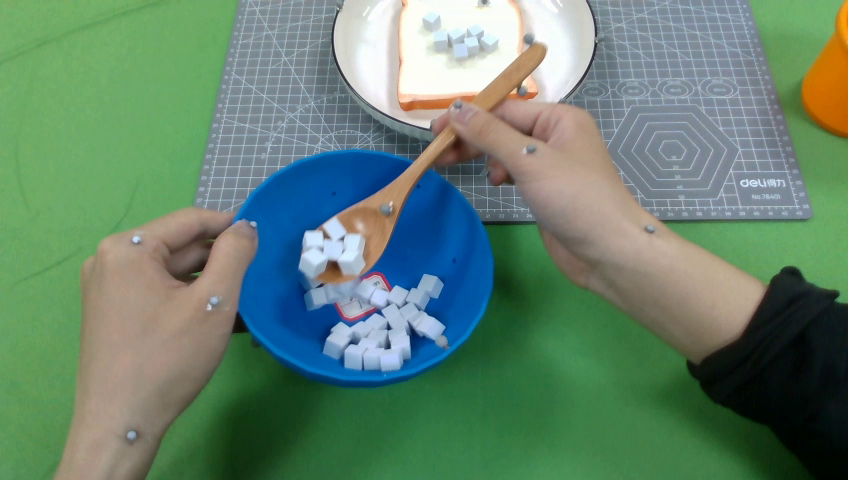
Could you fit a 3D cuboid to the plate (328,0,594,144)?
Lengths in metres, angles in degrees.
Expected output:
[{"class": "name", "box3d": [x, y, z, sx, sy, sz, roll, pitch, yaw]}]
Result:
[{"class": "plate", "box3d": [0.028, -0.160, 0.491, 0.209, 0.038, 0.207, -1, 63, 3]}]

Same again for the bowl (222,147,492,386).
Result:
[{"class": "bowl", "box3d": [-0.040, 0.026, 0.371, 0.152, 0.077, 0.150, 5, 59, -8]}]

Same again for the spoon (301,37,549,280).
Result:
[{"class": "spoon", "box3d": [0.005, -0.050, 0.345, 0.193, 0.022, 0.041, -46, 67, -3]}]

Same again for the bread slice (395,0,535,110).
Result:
[{"class": "bread slice", "box3d": [0.025, -0.164, 0.496, 0.107, 0.018, 0.133, -7, 65, 0]}]
